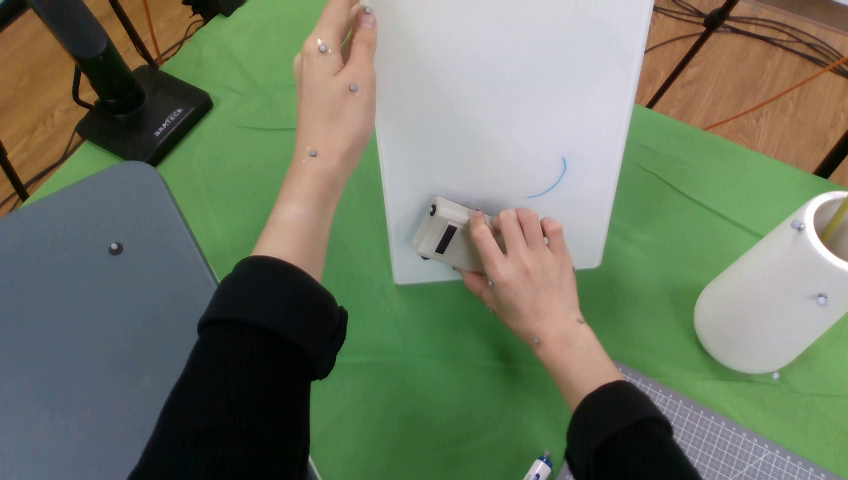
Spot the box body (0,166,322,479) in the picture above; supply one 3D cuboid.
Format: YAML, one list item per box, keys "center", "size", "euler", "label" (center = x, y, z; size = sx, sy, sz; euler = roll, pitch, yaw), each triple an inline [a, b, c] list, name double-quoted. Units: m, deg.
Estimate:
- center: [-0.245, 0.157, 0.474]
  size: [0.254, 0.161, 0.361]
  euler: [-30, 65, -14]
  label: "box body"

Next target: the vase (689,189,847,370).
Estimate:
- center: [0.301, 0.038, 0.512]
  size: [0.098, 0.201, 0.097]
  euler: [-1, 60, 1]
  label: "vase"

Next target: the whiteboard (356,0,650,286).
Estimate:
- center: [0.062, -0.121, 0.575]
  size: [0.217, 0.308, 0.142]
  euler: [-4, 42, -1]
  label: "whiteboard"

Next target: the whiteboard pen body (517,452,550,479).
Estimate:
- center: [0.064, 0.238, 0.507]
  size: [0.017, 0.017, 0.140]
  euler: [34, 64, 18]
  label: "whiteboard pen body"

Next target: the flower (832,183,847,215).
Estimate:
- center: [0.300, -0.015, 0.447]
  size: [0.044, 0.365, 0.038]
  euler: [20, 46, 15]
  label: "flower"

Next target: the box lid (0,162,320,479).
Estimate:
- center: [-0.247, 0.120, 0.409]
  size: [0.263, 0.015, 0.368]
  euler: [-29, 65, -15]
  label: "box lid"

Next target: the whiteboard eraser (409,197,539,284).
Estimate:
- center: [0.047, 0.000, 0.565]
  size: [0.113, 0.056, 0.041]
  euler: [17, 31, -20]
  label: "whiteboard eraser"
